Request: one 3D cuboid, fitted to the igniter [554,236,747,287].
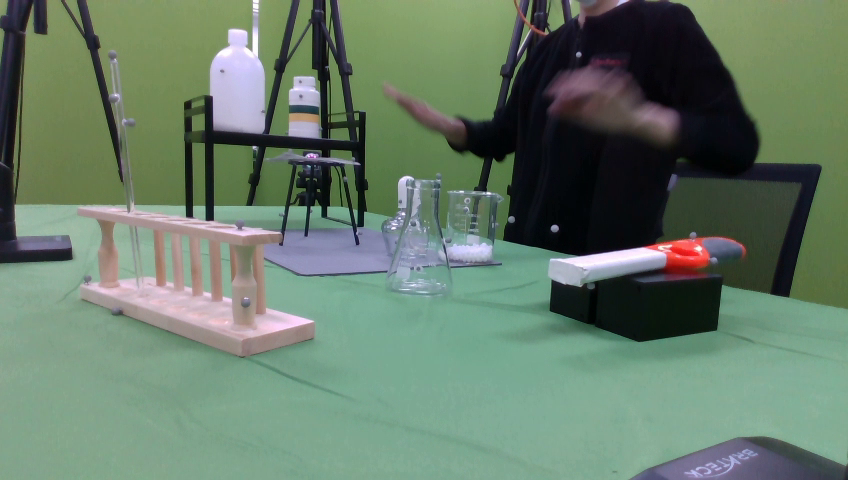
[{"bbox_3d":[0.221,0.017,0.558,0.278,0.025,0.057,-5,15,-39],"label":"igniter"}]

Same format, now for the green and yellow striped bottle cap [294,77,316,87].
[{"bbox_3d":[-0.247,-0.326,1.251,0.045,0.020,0.045,-1,10,0],"label":"green and yellow striped bottle cap"}]

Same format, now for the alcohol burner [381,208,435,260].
[{"bbox_3d":[-0.023,-0.032,0.872,0.078,0.119,0.078,1,6,0],"label":"alcohol burner"}]

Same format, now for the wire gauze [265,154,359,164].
[{"bbox_3d":[-0.181,-0.129,0.969,0.126,0.011,0.121,-1,7,-27],"label":"wire gauze"}]

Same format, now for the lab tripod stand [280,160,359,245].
[{"bbox_3d":[-0.176,-0.062,0.973,0.148,0.131,0.148,1,7,0],"label":"lab tripod stand"}]

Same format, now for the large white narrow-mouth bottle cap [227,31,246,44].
[{"bbox_3d":[-0.361,-0.387,1.166,0.038,0.024,0.037,1,7,0],"label":"large white narrow-mouth bottle cap"}]

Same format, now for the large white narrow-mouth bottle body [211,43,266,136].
[{"bbox_3d":[-0.361,-0.302,1.176,0.102,0.194,0.102,1,7,0],"label":"large white narrow-mouth bottle body"}]

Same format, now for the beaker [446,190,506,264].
[{"bbox_3d":[0.071,-0.019,0.855,0.084,0.100,0.074,3,8,-1],"label":"beaker"}]

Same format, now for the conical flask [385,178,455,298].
[{"bbox_3d":[-0.002,-0.004,0.639,0.075,0.122,0.075,2,7,0],"label":"conical flask"}]

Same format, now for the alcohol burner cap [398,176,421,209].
[{"bbox_3d":[-0.023,-0.068,0.866,0.034,0.048,0.034,-5,8,1],"label":"alcohol burner cap"}]

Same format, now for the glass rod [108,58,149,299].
[{"bbox_3d":[-0.240,-0.044,0.492,0.008,0.199,0.008,-1,15,0],"label":"glass rod"}]

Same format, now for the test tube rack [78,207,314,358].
[{"bbox_3d":[-0.197,0.023,0.499,0.241,0.085,0.067,8,8,37],"label":"test tube rack"}]

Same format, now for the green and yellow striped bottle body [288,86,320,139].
[{"bbox_3d":[-0.249,-0.272,1.259,0.063,0.119,0.063,2,8,0],"label":"green and yellow striped bottle body"}]
